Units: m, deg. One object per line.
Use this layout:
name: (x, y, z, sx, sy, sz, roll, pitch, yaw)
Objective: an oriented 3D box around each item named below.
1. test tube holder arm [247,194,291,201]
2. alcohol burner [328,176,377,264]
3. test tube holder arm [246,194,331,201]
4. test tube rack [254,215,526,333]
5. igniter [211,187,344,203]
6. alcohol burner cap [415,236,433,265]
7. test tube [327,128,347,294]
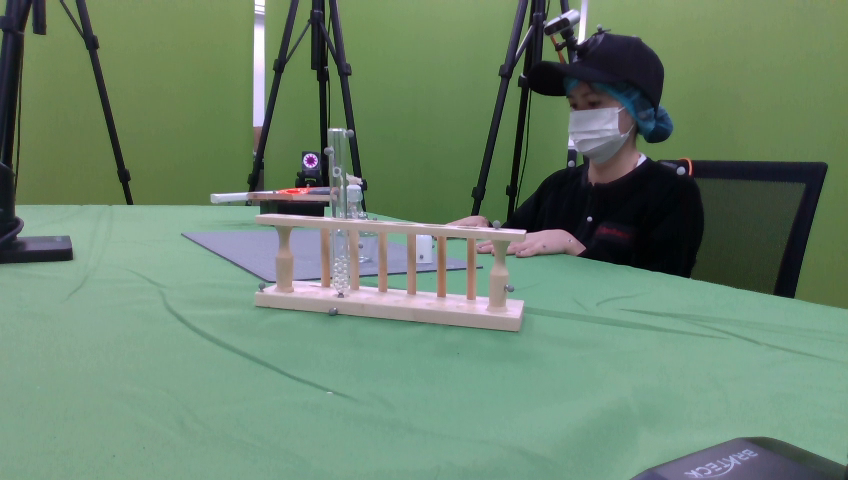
test tube holder arm: (-0.308, -0.085, 1.206, 0.088, 0.015, 0.010, -3, 2, -34)
alcohol burner: (-0.098, -0.028, 0.819, 0.078, 0.119, 0.078, 1, 8, 0)
test tube holder arm: (-0.274, -0.087, 1.237, 0.179, 0.015, 0.013, -3, 2, -35)
test tube rack: (-0.030, 0.025, 0.558, 0.242, 0.085, 0.067, 4, 7, 12)
igniter: (-0.299, -0.094, 1.266, 0.278, 0.025, 0.057, -6, 12, -34)
alcohol burner cap: (-0.004, 0.011, 0.835, 0.034, 0.048, 0.034, 2, 7, 0)
test tube: (-0.079, -0.025, 0.545, 0.017, 0.150, 0.017, 0, 9, 0)
